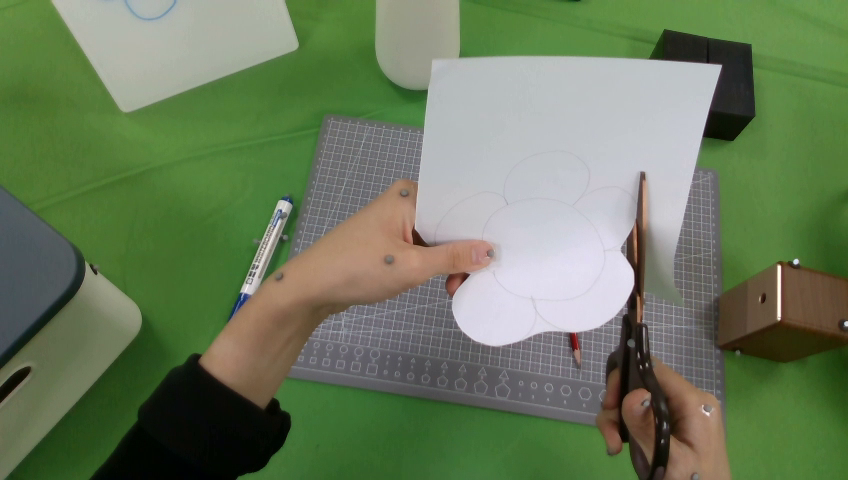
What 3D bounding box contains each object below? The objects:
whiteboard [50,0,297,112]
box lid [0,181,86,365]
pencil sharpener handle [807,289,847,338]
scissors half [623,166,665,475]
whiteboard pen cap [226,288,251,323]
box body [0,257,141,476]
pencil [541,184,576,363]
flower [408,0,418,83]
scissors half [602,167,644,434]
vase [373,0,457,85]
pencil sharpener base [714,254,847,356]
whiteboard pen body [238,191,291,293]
[{"bbox_3d":[-0.296,-0.331,0.632,0.217,0.308,0.142,-24,52,-10],"label":"whiteboard"},{"bbox_3d":[-0.472,0.010,0.455,0.370,0.015,0.262,34,71,11],"label":"box lid"},{"bbox_3d":[0.386,0.072,0.558,0.030,0.068,0.035,13,62,0],"label":"pencil sharpener handle"},{"bbox_3d":[0.122,0.045,0.343,0.013,0.040,0.175,-2,87,-4],"label":"scissors half"},{"bbox_3d":[-0.182,0.064,0.599,0.018,0.018,0.033,14,64,4],"label":"whiteboard pen cap"},{"bbox_3d":[-0.472,0.039,0.524,0.362,0.161,0.253,34,72,11],"label":"box body"},{"bbox_3d":[0.140,0.031,0.628,0.012,0.012,0.192,-4,71,-3],"label":"pencil"},{"bbox_3d":[-0.014,-0.300,0.563,0.044,0.365,0.038,2,50,3],"label":"flower"},{"bbox_3d":[0.122,0.041,0.365,0.013,0.176,0.039,-1,25,1],"label":"scissors half"},{"bbox_3d":[-0.010,-0.255,0.635,0.098,0.201,0.097,0,67,0],"label":"vase"},{"bbox_3d":[0.335,0.064,0.569,0.077,0.107,0.061,13,68,0],"label":"pencil sharpener base"},{"bbox_3d":[-0.167,0.011,0.622,0.017,0.017,0.140,15,67,5],"label":"whiteboard pen body"}]
